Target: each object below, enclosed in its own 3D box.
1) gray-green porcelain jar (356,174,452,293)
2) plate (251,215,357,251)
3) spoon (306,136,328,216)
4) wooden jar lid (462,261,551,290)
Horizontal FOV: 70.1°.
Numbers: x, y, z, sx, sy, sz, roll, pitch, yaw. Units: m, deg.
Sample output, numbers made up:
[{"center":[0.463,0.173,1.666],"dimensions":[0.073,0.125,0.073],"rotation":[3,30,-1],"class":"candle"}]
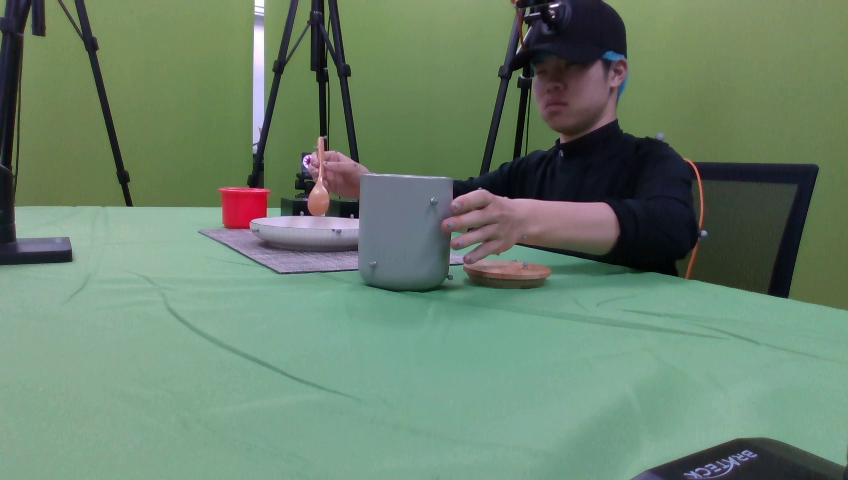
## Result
[{"center":[-0.023,-0.009,0.683],"dimensions":[0.106,0.126,0.106],"rotation":[2,7,0],"class":"gray-green porcelain jar"},{"center":[-0.170,-0.012,0.971],"dimensions":[0.208,0.039,0.207],"rotation":[2,7,0],"class":"plate"},{"center":[-0.185,-0.117,1.060],"dimensions":[0.041,0.022,0.193],"rotation":[-21,45,16],"class":"spoon"},{"center":[0.100,0.043,0.742],"dimensions":[0.108,0.020,0.108],"rotation":[2,6,0],"class":"wooden jar lid"}]
